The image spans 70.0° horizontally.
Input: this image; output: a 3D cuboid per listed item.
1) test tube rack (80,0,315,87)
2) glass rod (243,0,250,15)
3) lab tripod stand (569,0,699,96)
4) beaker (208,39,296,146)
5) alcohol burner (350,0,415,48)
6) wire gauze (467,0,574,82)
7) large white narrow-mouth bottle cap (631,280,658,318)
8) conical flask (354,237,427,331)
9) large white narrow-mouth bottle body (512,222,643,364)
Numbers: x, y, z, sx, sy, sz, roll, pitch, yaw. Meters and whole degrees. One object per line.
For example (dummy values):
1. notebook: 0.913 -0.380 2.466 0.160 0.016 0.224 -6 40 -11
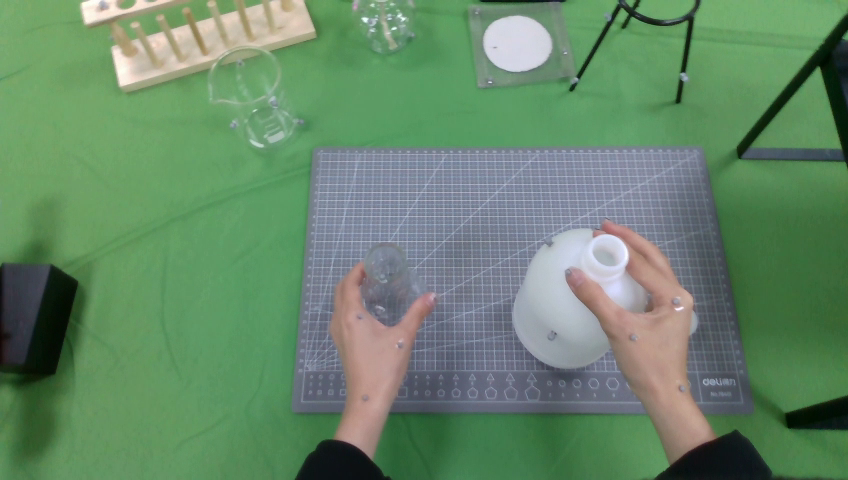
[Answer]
1. test tube rack: -0.261 -0.267 0.721 0.242 0.086 0.066 -19 69 -8
2. glass rod: -0.213 -0.325 0.672 0.008 0.201 0.008 2 66 -4
3. lab tripod stand: 0.246 -0.238 0.683 0.148 0.132 0.147 1 67 -1
4. beaker: -0.187 -0.156 0.668 0.084 0.101 0.073 -40 72 -14
5. alcohol burner: -0.049 -0.286 0.713 0.078 0.120 0.077 0 66 -1
6. wire gauze: 0.119 -0.254 0.757 0.121 0.011 0.124 -4 68 -3
7. large white narrow-mouth bottle cap: 0.220 0.061 0.624 0.038 0.024 0.037 -1 67 2
8. conical flask: -0.035 0.037 0.575 0.075 0.123 0.075 0 67 1
9. large white narrow-mouth bottle body: 0.136 0.042 0.535 0.102 0.196 0.101 -1 66 2
